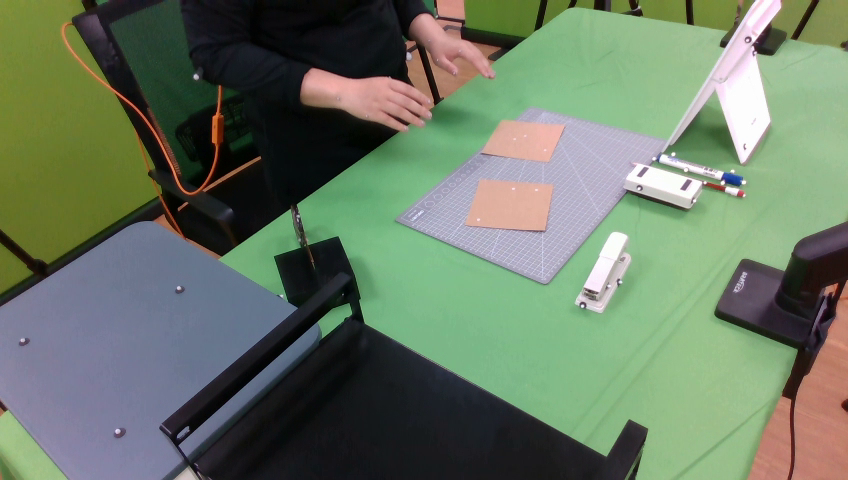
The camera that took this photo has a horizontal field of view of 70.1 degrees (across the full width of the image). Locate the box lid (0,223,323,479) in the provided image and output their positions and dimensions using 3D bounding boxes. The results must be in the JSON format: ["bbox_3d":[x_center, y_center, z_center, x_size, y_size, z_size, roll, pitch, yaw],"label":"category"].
[{"bbox_3d":[-0.318,0.109,0.671,0.368,0.015,0.264,24,49,31],"label":"box lid"}]

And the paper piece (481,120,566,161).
[{"bbox_3d":[0.197,-0.199,1.188,0.135,0.004,0.135,11,43,21],"label":"paper piece"}]

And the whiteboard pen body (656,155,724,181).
[{"bbox_3d":[0.475,-0.123,1.052,0.139,0.017,0.017,24,49,32],"label":"whiteboard pen body"}]

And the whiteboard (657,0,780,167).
[{"bbox_3d":[0.571,-0.272,1.038,0.143,0.306,0.218,37,54,17],"label":"whiteboard"}]

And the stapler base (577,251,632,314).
[{"bbox_3d":[0.264,0.051,0.875,0.041,0.024,0.131,16,47,30],"label":"stapler base"}]

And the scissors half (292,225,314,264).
[{"bbox_3d":[-0.188,0.007,0.954,0.013,0.040,0.174,-21,22,-13],"label":"scissors half"}]

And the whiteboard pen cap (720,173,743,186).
[{"bbox_3d":[0.519,-0.103,1.020,0.033,0.018,0.018,23,49,30],"label":"whiteboard pen cap"}]

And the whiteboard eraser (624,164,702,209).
[{"bbox_3d":[0.396,-0.087,1.003,0.112,0.042,0.056,22,47,31],"label":"whiteboard eraser"}]

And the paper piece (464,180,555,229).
[{"bbox_3d":[0.149,-0.062,1.034,0.137,0.009,0.136,4,37,17],"label":"paper piece"}]

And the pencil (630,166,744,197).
[{"bbox_3d":[0.447,-0.103,1.038,0.192,0.012,0.012,21,48,29],"label":"pencil"}]

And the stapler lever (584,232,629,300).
[{"bbox_3d":[0.260,0.034,0.858,0.026,0.040,0.118,16,46,30],"label":"stapler lever"}]

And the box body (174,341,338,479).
[{"bbox_3d":[-0.311,0.165,0.720,0.361,0.161,0.255,23,49,32],"label":"box body"}]

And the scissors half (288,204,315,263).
[{"bbox_3d":[-0.191,-0.010,0.944,0.013,0.040,0.173,-16,38,-16],"label":"scissors half"}]
